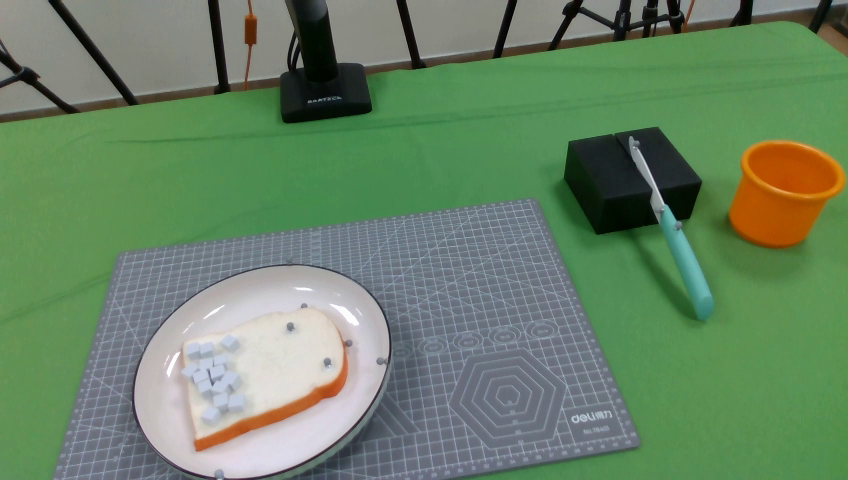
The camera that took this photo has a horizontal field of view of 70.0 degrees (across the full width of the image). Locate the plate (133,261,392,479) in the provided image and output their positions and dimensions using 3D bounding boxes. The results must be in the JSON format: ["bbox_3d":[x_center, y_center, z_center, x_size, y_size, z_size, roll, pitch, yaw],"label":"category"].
[{"bbox_3d":[-0.129,0.104,0.506,0.209,0.038,0.207,-1,45,2],"label":"plate"}]

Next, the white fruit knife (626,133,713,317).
[{"bbox_3d":[0.231,-0.024,0.585,0.016,0.027,0.205,-9,60,-6],"label":"white fruit knife"}]

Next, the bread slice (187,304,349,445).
[{"bbox_3d":[-0.132,0.102,0.511,0.132,0.019,0.103,-19,48,-13],"label":"bread slice"}]
